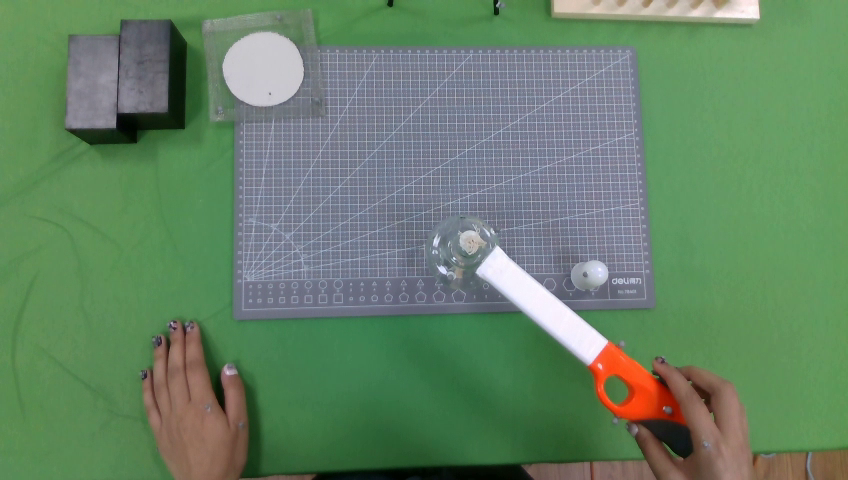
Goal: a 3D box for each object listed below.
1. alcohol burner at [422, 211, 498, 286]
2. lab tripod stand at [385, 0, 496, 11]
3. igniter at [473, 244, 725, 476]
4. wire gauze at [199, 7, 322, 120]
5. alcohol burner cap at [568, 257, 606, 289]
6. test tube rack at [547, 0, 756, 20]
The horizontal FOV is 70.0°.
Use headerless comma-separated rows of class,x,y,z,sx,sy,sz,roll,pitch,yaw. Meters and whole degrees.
alcohol burner,0.038,0.006,0.599,0.078,0.119,0.077,1,80,-4
lab tripod stand,0.022,-0.314,0.631,0.148,0.132,0.148,0,81,-2
igniter,0.156,0.105,0.532,0.276,0.025,0.057,41,84,1
wire gauze,-0.180,-0.193,0.662,0.125,0.011,0.121,-7,82,-4
alcohol burner cap,0.174,0.033,0.640,0.034,0.048,0.033,0,81,-2
test tube rack,0.266,-0.298,0.669,0.242,0.085,0.066,0,82,-3
